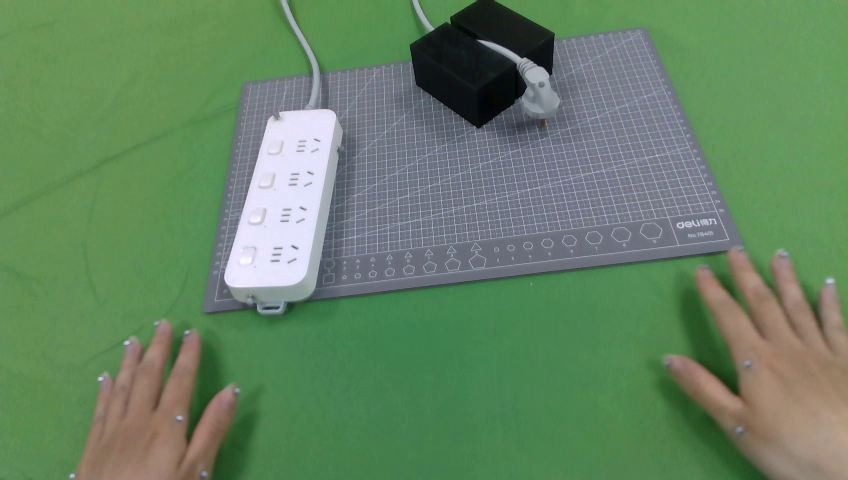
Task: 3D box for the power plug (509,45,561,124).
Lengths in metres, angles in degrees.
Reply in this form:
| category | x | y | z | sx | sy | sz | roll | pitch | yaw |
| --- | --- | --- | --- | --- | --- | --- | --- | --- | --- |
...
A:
| category | x | y | z | sx | sy | sz | roll | pitch | yaw |
| --- | --- | --- | --- | --- | --- | --- | --- | --- | --- |
| power plug | 0.106 | -0.149 | 0.582 | 0.035 | 0.053 | 0.072 | -11 | 57 | -5 |

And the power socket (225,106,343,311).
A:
| category | x | y | z | sx | sy | sz | roll | pitch | yaw |
| --- | --- | --- | --- | --- | --- | --- | --- | --- | --- |
| power socket | -0.123 | -0.041 | 0.555 | 0.072 | 0.033 | 0.224 | 0 | 54 | 6 |
